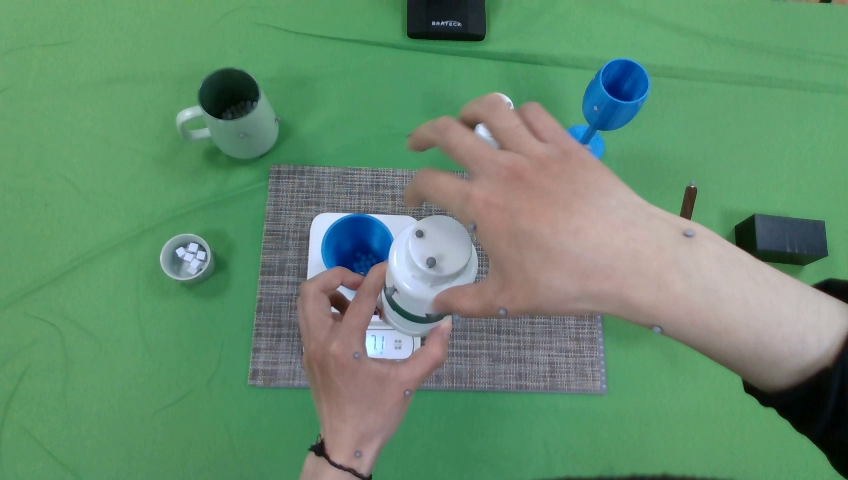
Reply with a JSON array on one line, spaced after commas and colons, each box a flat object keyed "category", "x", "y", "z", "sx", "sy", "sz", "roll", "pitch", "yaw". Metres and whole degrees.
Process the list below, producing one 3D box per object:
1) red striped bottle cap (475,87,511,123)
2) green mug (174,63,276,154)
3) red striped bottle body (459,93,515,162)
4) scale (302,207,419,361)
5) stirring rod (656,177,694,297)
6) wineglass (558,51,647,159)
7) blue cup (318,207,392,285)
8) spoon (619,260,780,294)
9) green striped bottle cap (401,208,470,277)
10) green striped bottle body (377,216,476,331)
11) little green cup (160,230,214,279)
[{"category": "red striped bottle cap", "x": 0.088, "y": -0.171, "z": 0.766, "sx": 0.044, "sy": 0.018, "sz": 0.044, "roll": 1, "pitch": 71, "yaw": -3}, {"category": "green mug", "x": -0.266, "y": -0.167, "z": 0.805, "sx": 0.125, "sy": 0.105, "sz": 0.092, "roll": -20, "pitch": 76, "yaw": -9}, {"category": "red striped bottle body", "x": 0.085, "y": -0.156, "z": 0.818, "sx": 0.063, "sy": 0.120, "sz": 0.062, "roll": 1, "pitch": 73, "yaw": -4}, {"category": "scale", "x": -0.080, "y": 0.055, "z": 0.787, "sx": 0.149, "sy": 0.032, "sz": 0.199, "roll": 1, "pitch": 74, "yaw": -3}, {"category": "stirring rod", "x": 0.319, "y": 0.001, "z": 0.773, "sx": 0.014, "sy": 0.177, "sz": 0.006, "roll": 6, "pitch": 32, "yaw": 12}, {"category": "wineglass", "x": 0.232, "y": -0.173, "z": 0.805, "sx": 0.074, "sy": 0.173, "sz": 0.073, "roll": 1, "pitch": 73, "yaw": -3}, {"category": "blue cup", "x": -0.081, "y": 0.016, "z": 0.730, "sx": 0.093, "sy": 0.100, "sz": 0.092, "roll": 1, "pitch": 76, "yaw": -5}, {"category": "spoon", "x": 0.338, "y": 0.052, "z": 0.760, "sx": 0.022, "sy": 0.192, "sz": 0.041, "roll": 24, "pitch": 77, "yaw": -42}, {"category": "green striped bottle cap", "x": 0.008, "y": 0.002, "z": 0.400, "sx": 0.044, "sy": 0.020, "sz": 0.044, "roll": 5, "pitch": 69, "yaw": -11}, {"category": "green striped bottle body", "x": 0.001, "y": 0.023, "z": 0.447, "sx": 0.063, "sy": 0.120, "sz": 0.062, "roll": 3, "pitch": 67, "yaw": -8}, {"category": "little green cup", "x": -0.303, "y": 0.021, "z": 0.782, "sx": 0.061, "sy": 0.039, "sz": 0.061, "roll": 2, "pitch": 73, "yaw": -5}]
